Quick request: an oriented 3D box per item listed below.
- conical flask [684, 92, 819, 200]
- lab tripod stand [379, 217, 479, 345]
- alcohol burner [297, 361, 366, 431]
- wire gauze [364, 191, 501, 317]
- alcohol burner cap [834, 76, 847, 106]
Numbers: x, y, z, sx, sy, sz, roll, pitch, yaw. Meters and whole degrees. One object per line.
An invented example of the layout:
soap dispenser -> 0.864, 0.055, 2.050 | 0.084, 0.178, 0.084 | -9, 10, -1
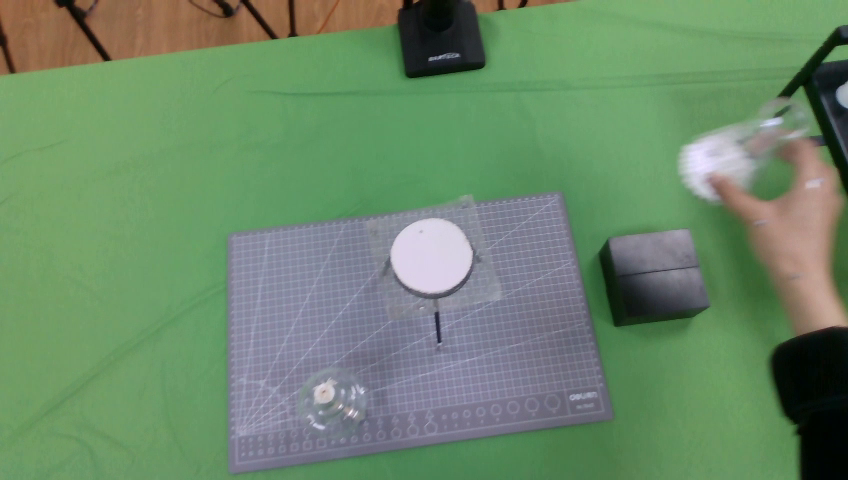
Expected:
conical flask -> 0.292, -0.087, 0.537 | 0.075, 0.122, 0.075 | 1, 76, -3
lab tripod stand -> 0.010, 0.035, 0.708 | 0.148, 0.132, 0.147 | 0, 67, 1
alcohol burner -> -0.105, 0.170, 0.670 | 0.078, 0.120, 0.077 | 0, 68, 0
wire gauze -> 0.007, 0.014, 0.645 | 0.125, 0.011, 0.120 | -12, 70, -5
alcohol burner cap -> 0.460, -0.166, 0.636 | 0.034, 0.048, 0.033 | 0, 70, 1
